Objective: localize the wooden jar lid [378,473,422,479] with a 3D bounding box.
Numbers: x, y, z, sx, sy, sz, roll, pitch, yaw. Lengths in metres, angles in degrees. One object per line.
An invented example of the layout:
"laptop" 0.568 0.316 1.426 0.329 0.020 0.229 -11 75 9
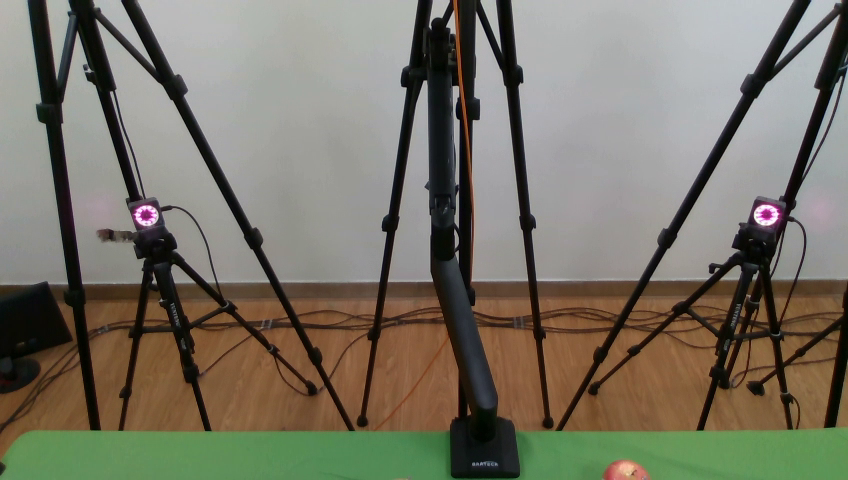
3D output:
"wooden jar lid" -0.036 0.382 0.858 0.108 0.021 0.107 -1 32 1

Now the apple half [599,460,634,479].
"apple half" 0.306 0.402 0.978 0.033 0.082 0.080 -16 37 -29

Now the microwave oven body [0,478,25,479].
"microwave oven body" -0.526 0.519 0.649 0.326 0.262 0.438 2 35 4

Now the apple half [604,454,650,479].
"apple half" 0.339 0.391 0.996 0.053 0.075 0.080 -15 33 -29

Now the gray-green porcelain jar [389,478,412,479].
"gray-green porcelain jar" -0.035 0.434 0.894 0.106 0.127 0.105 0 34 1
